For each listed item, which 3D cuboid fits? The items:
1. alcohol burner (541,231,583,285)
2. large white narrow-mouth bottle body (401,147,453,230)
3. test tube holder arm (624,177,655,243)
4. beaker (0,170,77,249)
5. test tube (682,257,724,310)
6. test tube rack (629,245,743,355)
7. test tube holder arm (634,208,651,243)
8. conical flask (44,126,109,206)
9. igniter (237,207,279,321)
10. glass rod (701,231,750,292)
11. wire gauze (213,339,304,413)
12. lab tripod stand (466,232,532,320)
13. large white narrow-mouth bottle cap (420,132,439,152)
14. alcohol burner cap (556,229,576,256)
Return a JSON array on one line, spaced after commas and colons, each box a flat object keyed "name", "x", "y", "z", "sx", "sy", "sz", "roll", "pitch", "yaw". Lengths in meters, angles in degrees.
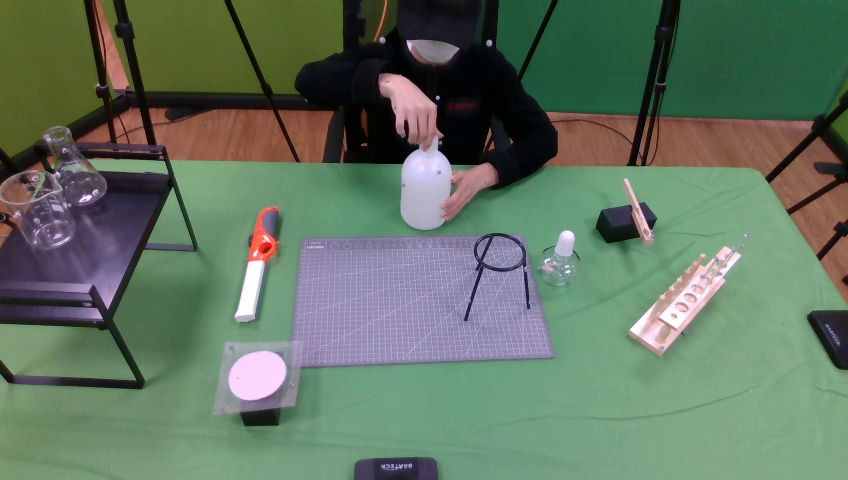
[{"name": "alcohol burner", "x": 0.258, "y": 0.028, "z": 1.123, "sx": 0.078, "sy": 0.120, "sz": 0.077, "roll": 1, "pitch": 48, "yaw": -1}, {"name": "large white narrow-mouth bottle body", "x": 0.005, "y": -0.119, "z": 1.191, "sx": 0.102, "sy": 0.195, "sz": 0.101, "roll": 2, "pitch": 46, "yaw": -2}, {"name": "test tube holder arm", "x": 0.432, "y": -0.062, "z": 1.220, "sx": 0.013, "sy": 0.015, "sz": 0.177, "roll": 0, "pitch": 47, "yaw": -2}, {"name": "beaker", "x": -0.562, "y": -0.042, "z": 0.894, "sx": 0.084, "sy": 0.101, "sz": 0.073, "roll": -2, "pitch": 47, "yaw": -7}, {"name": "test tube", "x": 0.475, "y": 0.080, "z": 1.037, "sx": 0.017, "sy": 0.151, "sz": 0.017, "roll": 2, "pitch": 51, "yaw": -2}, {"name": "test tube rack", "x": 0.474, "y": 0.095, "z": 1.091, "sx": 0.242, "sy": 0.085, "sz": 0.066, "roll": -34, "pitch": 56, "yaw": -31}, {"name": "test tube holder arm", "x": 0.428, "y": -0.030, "z": 1.189, "sx": 0.010, "sy": 0.015, "sz": 0.087, "roll": 0, "pitch": 47, "yaw": -2}, {"name": "conical flask", "x": -0.554, "y": -0.119, "z": 0.953, "sx": 0.075, "sy": 0.122, "sz": 0.075, "roll": 2, "pitch": 46, "yaw": -2}, {"name": "igniter", "x": -0.309, "y": 0.035, "z": 1.136, "sx": 0.057, "sy": 0.025, "sz": 0.274, "roll": -7, "pitch": 45, "yaw": 5}, {"name": "glass rod", "x": 0.518, "y": 0.045, "z": 1.050, "sx": 0.008, "sy": 0.201, "sz": 0.008, "roll": 0, "pitch": 55, "yaw": 0}, {"name": "wire gauze", "x": -0.250, "y": 0.203, "z": 0.925, "sx": 0.121, "sy": 0.011, "sz": 0.124, "roll": -1, "pitch": 46, "yaw": -3}, {"name": "lab tripod stand", "x": 0.125, "y": 0.059, "z": 1.065, "sx": 0.148, "sy": 0.132, "sz": 0.147, "roll": 1, "pitch": 45, "yaw": 0}, {"name": "large white narrow-mouth bottle cap", "x": 0.011, "y": -0.182, "z": 1.124, "sx": 0.038, "sy": 0.024, "sz": 0.037, "roll": 2, "pitch": 46, "yaw": -2}, {"name": "alcohol burner cap", "x": 0.260, "y": 0.002, "z": 1.098, "sx": 0.034, "sy": 0.048, "sz": 0.033, "roll": 3, "pitch": 40, "yaw": -2}]
